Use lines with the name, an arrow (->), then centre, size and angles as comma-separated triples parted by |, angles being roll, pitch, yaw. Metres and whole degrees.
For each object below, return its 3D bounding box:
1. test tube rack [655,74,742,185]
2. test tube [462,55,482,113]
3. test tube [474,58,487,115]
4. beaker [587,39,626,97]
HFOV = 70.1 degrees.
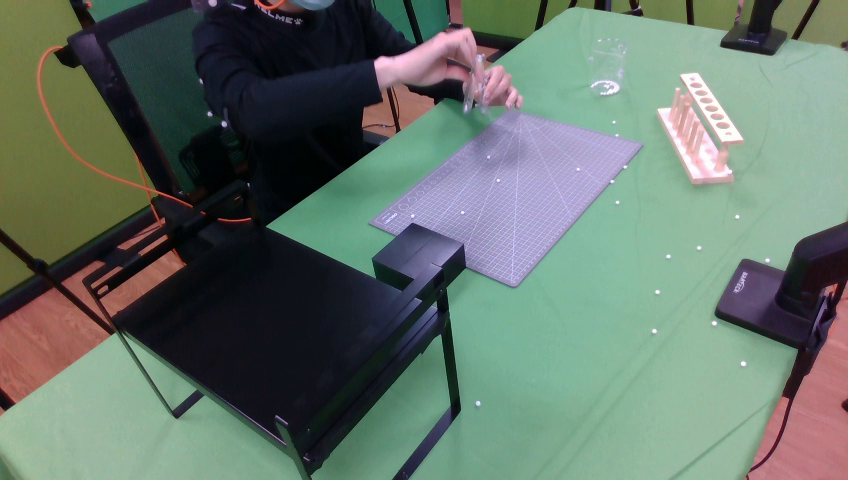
test tube rack -> 0.488, -0.205, 1.093 | 0.067, 0.085, 0.241 | -3, 41, 5
test tube -> 0.080, -0.258, 0.996 | 0.017, 0.017, 0.150 | 3, 49, 12
test tube -> 0.104, -0.279, 1.112 | 0.017, 0.151, 0.017 | -3, 65, 7
beaker -> 0.386, -0.361, 1.280 | 0.074, 0.101, 0.083 | -22, 43, -15
